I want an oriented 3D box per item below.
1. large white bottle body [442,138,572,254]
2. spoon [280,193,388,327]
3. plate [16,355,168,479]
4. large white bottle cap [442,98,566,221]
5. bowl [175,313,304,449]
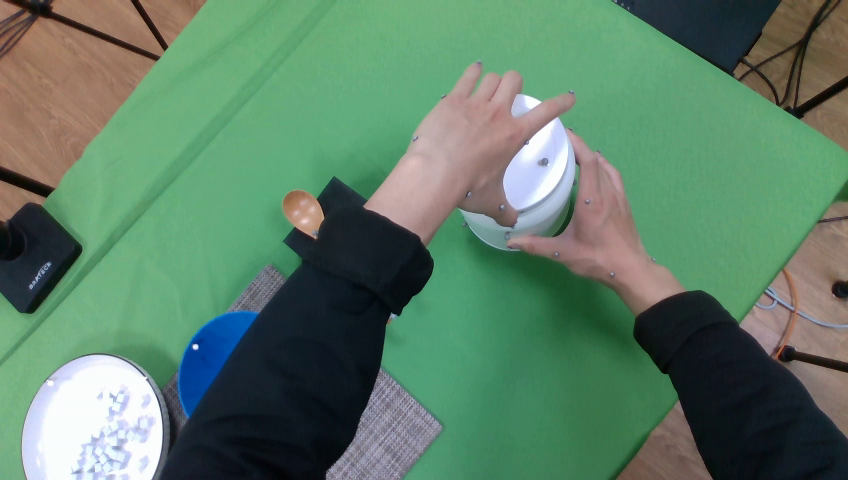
[{"bbox_3d":[0.090,-0.061,0.646,0.130,0.185,0.130,-2,80,11],"label":"large white bottle body"},{"bbox_3d":[-0.104,0.025,0.706,0.041,0.022,0.193,-37,81,-3],"label":"spoon"},{"bbox_3d":[-0.411,0.250,0.761,0.209,0.038,0.208,-3,78,12],"label":"plate"},{"bbox_3d":[0.073,-0.075,0.562,0.114,0.018,0.114,-2,81,11],"label":"large white bottle cap"},{"bbox_3d":[-0.204,0.163,0.716,0.151,0.077,0.151,-2,80,10],"label":"bowl"}]
